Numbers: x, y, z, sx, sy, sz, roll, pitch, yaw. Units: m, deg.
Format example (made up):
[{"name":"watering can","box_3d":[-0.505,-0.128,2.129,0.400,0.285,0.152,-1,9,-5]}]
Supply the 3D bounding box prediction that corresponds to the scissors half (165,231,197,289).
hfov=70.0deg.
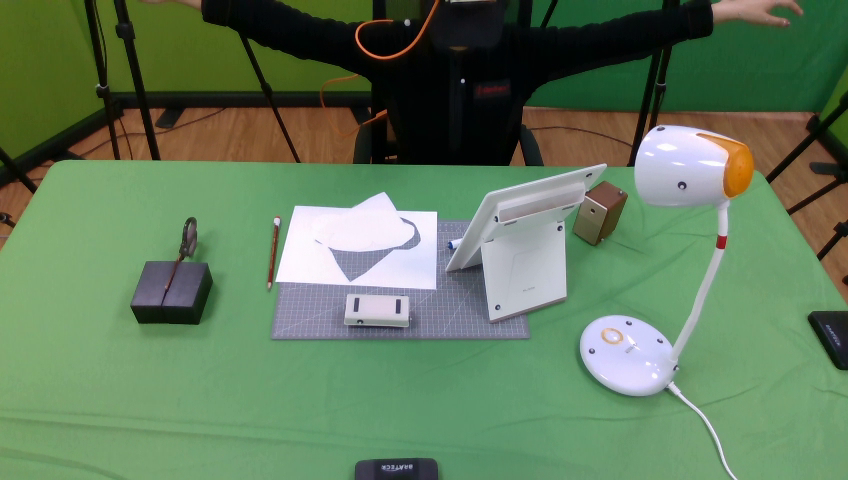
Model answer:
[{"name":"scissors half","box_3d":[-0.441,0.036,1.098,0.013,0.040,0.174,12,28,-10]}]

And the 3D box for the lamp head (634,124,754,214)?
[{"name":"lamp head","box_3d":[0.351,-0.089,0.775,0.112,0.113,0.122,-30,30,-28]}]

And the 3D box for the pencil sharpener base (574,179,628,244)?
[{"name":"pencil sharpener base","box_3d":[0.355,-0.057,1.217,0.076,0.107,0.061,-33,56,-31]}]

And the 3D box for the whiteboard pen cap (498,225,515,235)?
[{"name":"whiteboard pen cap","box_3d":[0.166,-0.019,1.222,0.033,0.018,0.018,-14,49,-19]}]

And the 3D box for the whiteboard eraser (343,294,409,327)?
[{"name":"whiteboard eraser","box_3d":[-0.082,0.124,1.053,0.113,0.042,0.055,2,45,-2]}]

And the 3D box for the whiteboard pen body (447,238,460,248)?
[{"name":"whiteboard pen body","box_3d":[0.112,-0.005,1.204,0.141,0.017,0.017,-14,49,-18]}]

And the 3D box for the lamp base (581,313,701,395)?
[{"name":"lamp base","box_3d":[0.361,0.144,0.973,0.178,0.181,0.160,34,53,23]}]

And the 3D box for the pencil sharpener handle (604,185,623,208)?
[{"name":"pencil sharpener handle","box_3d":[0.390,-0.092,1.235,0.030,0.068,0.036,-33,69,-31]}]

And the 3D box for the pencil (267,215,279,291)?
[{"name":"pencil","box_3d":[-0.291,0.022,1.164,0.012,0.012,0.192,-2,48,-6]}]

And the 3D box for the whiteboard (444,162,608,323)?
[{"name":"whiteboard","box_3d":[0.186,0.025,1.029,0.217,0.306,0.143,-14,68,-18]}]

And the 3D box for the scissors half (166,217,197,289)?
[{"name":"scissors half","box_3d":[-0.436,0.020,1.086,0.013,0.040,0.174,7,47,-7]}]
